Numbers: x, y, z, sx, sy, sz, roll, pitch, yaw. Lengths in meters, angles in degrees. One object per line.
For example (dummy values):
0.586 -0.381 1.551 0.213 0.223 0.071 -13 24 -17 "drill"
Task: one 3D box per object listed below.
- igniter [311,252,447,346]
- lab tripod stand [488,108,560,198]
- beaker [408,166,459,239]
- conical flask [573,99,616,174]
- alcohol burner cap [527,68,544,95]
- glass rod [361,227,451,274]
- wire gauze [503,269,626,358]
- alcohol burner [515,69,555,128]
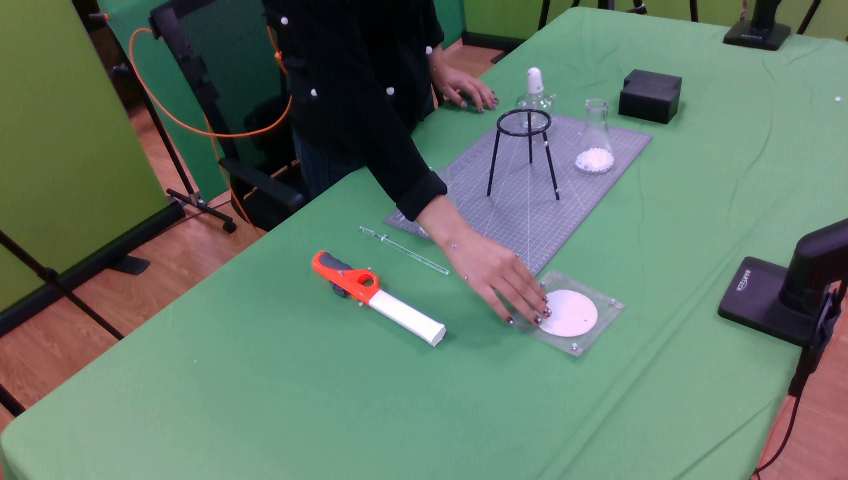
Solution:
-0.078 0.081 0.899 0.274 0.025 0.057 26 62 35 "igniter"
0.173 -0.150 1.037 0.148 0.132 0.147 -7 38 6 "lab tripod stand"
0.018 -0.057 0.984 0.074 0.101 0.083 -6 41 5 "beaker"
0.302 -0.184 1.061 0.075 0.122 0.075 -5 40 5 "conical flask"
0.216 -0.311 1.179 0.034 0.048 0.033 -10 40 9 "alcohol burner cap"
-0.033 0.015 0.984 0.198 0.008 0.008 26 52 34 "glass rod"
0.195 0.100 0.840 0.120 0.011 0.125 27 54 36 "wire gauze"
0.221 -0.285 1.203 0.078 0.119 0.077 -4 39 4 "alcohol burner"
